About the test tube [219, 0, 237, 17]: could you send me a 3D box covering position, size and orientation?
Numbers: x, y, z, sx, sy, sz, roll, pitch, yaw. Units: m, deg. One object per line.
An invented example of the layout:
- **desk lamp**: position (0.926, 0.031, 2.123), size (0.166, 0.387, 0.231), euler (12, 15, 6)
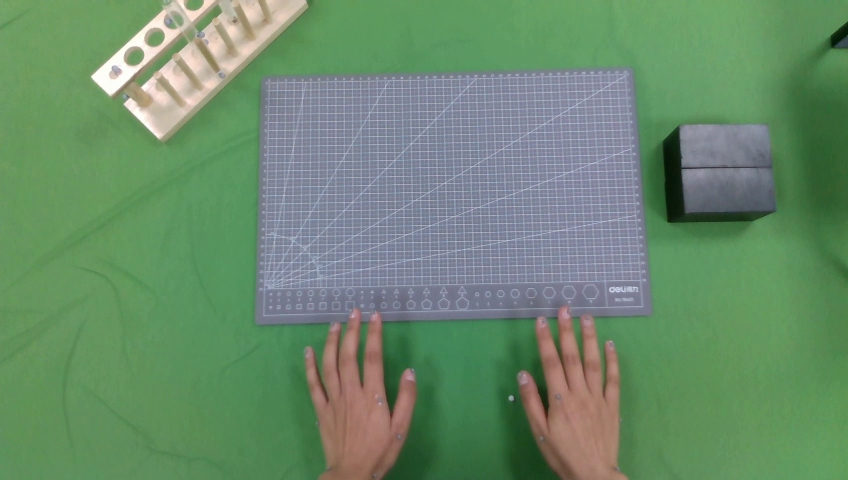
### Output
- **test tube**: position (-0.235, -0.291, 0.661), size (0.017, 0.151, 0.017), euler (-1, 77, 5)

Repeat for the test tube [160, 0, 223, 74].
- **test tube**: position (-0.249, -0.222, 0.654), size (0.017, 0.151, 0.017), euler (0, 77, 1)

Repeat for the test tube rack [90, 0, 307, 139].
- **test tube rack**: position (-0.253, -0.236, 0.702), size (0.066, 0.085, 0.242), euler (44, 83, 8)
